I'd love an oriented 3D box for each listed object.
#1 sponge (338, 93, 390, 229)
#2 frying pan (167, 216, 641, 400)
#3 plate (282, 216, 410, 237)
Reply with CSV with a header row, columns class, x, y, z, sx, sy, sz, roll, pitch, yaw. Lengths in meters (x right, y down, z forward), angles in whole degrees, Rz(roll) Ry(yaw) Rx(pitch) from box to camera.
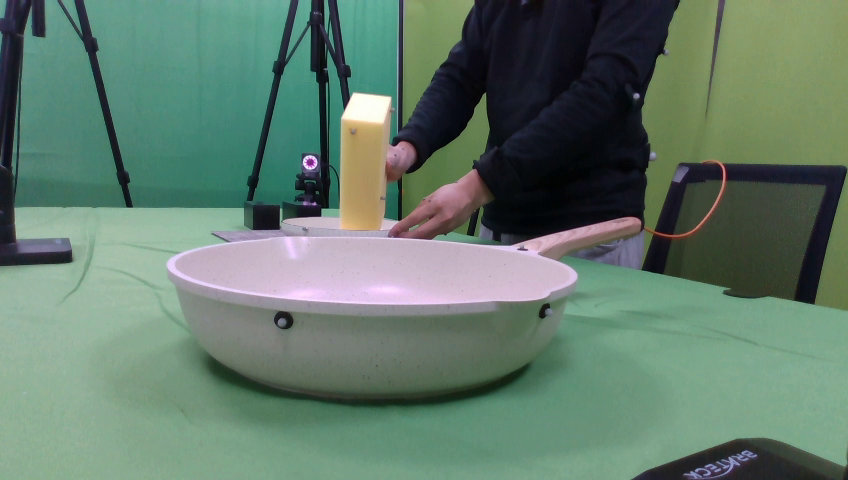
class,x,y,z,sx,sy,sz,roll,pitch,yaw
sponge,-0.093,-0.108,0.929,0.061,0.207,0.118,6,33,-1
frying pan,0.046,0.024,0.519,0.490,0.102,0.305,-14,16,-37
plate,-0.126,-0.012,0.986,0.208,0.039,0.207,2,7,0
